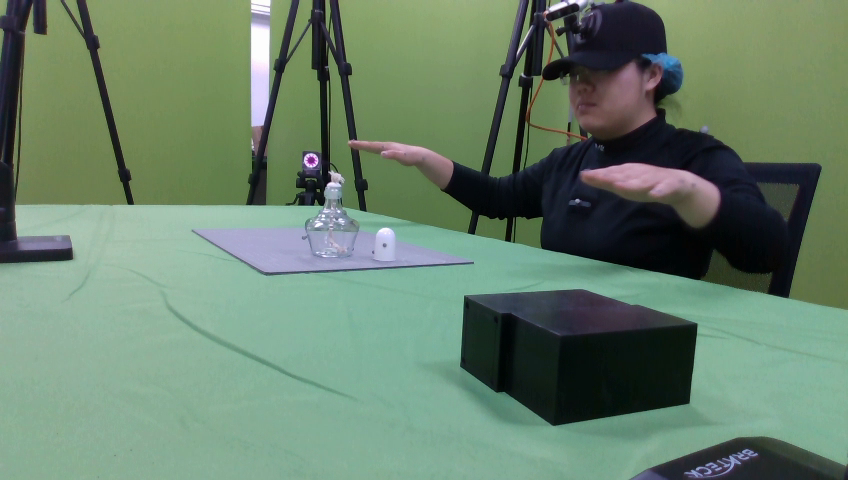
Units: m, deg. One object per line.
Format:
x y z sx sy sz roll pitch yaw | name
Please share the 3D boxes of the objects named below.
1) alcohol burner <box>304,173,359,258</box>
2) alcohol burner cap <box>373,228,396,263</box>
-0.129 -0.035 0.852 0.078 0.119 0.078 2 5 0 | alcohol burner
-0.054 0.007 0.836 0.034 0.048 0.034 3 7 0 | alcohol burner cap
